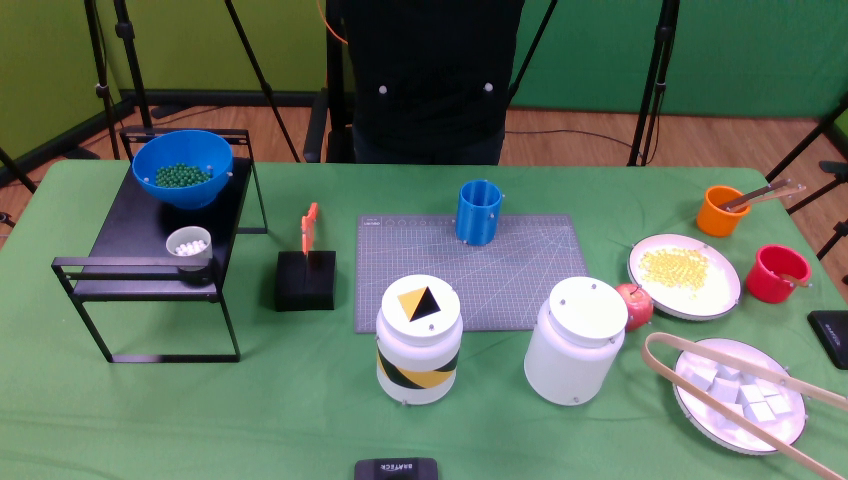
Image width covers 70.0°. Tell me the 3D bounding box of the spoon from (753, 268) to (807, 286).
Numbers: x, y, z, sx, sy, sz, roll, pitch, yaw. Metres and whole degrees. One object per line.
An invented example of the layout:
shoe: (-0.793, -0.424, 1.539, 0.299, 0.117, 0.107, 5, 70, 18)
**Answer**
spoon: (0.647, 0.065, 1.100, 0.041, 0.194, 0.021, 15, 93, 10)

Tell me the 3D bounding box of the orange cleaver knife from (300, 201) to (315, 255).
orange cleaver knife: (-0.222, -0.027, 1.161, 0.012, 0.077, 0.210, -2, 15, -4)

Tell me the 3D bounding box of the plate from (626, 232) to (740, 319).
plate: (0.488, 0.071, 1.157, 0.209, 0.038, 0.208, 3, 46, -3)

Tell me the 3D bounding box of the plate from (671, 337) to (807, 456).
plate: (0.504, 0.254, 0.984, 0.208, 0.039, 0.206, 2, 46, -2)

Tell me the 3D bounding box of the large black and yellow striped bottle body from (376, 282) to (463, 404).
large black and yellow striped bottle body: (-0.010, 0.155, 0.937, 0.131, 0.185, 0.130, 2, 47, -2)

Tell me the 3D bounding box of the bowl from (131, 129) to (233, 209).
bowl: (-0.381, -0.103, 0.978, 0.151, 0.077, 0.150, 2, 46, -2)

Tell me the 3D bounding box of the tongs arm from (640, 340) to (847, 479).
tongs arm: (0.500, 0.277, 0.919, 0.386, 0.028, 0.028, 34, 59, 22)

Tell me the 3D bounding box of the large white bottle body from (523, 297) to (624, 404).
large white bottle body: (0.235, 0.159, 0.952, 0.131, 0.185, 0.130, 2, 47, -2)

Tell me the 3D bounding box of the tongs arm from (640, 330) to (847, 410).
tongs arm: (0.543, 0.225, 0.969, 0.384, 0.026, 0.050, 22, 52, 13)

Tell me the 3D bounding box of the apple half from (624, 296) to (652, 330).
apple half: (0.368, 0.135, 1.060, 0.081, 0.081, 0.032, -11, 43, -15)

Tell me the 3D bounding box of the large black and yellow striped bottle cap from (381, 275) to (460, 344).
large black and yellow striped bottle cap: (-0.005, 0.098, 0.875, 0.115, 0.019, 0.114, 2, 45, -2)

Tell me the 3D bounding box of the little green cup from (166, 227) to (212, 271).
little green cup: (-0.344, 0.014, 0.895, 0.061, 0.039, 0.061, 3, 46, -3)

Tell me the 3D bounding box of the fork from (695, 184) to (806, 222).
fork: (0.658, -0.074, 1.230, 0.207, 0.019, 0.028, -24, 33, 36)

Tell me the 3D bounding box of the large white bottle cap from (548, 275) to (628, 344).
large white bottle cap: (0.240, 0.100, 0.890, 0.115, 0.018, 0.114, 3, 47, -3)

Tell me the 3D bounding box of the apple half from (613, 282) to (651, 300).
apple half: (0.356, 0.109, 1.086, 0.081, 0.075, 0.053, -14, 45, -12)

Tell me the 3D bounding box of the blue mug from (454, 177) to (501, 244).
blue mug: (0.106, -0.067, 1.208, 0.082, 0.106, 0.116, 6, 46, 1)

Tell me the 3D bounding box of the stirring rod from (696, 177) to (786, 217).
stirring rod: (0.648, -0.087, 1.244, 0.176, 0.006, 0.014, -25, 50, 29)
